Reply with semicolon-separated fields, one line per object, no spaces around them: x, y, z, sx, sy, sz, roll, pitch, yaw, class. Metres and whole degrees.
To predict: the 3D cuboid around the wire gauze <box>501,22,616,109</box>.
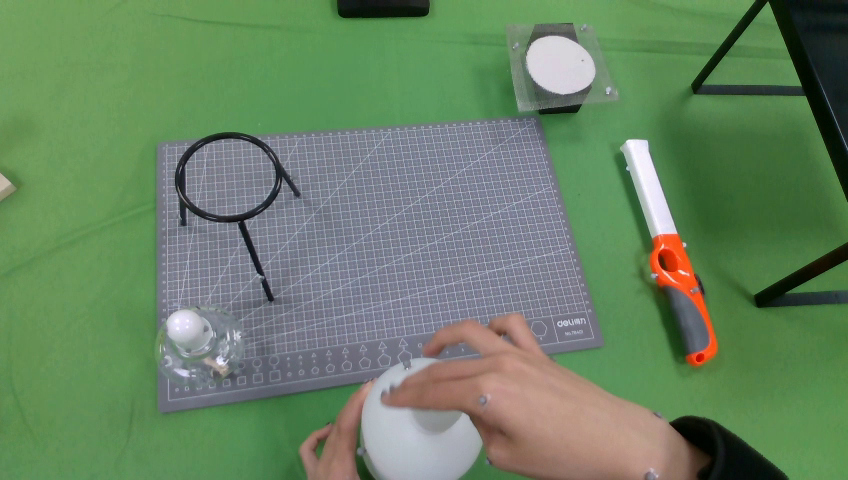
0.159;-0.214;0.730;0.122;0.011;0.124;-5;68;-9;wire gauze

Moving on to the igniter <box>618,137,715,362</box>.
0.275;0.003;0.693;0.057;0.025;0.274;-2;67;-20;igniter

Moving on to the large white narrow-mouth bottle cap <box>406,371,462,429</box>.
0.006;0.109;0.413;0.038;0.024;0.037;3;66;-5;large white narrow-mouth bottle cap

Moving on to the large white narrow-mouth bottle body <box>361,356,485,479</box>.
-0.002;0.151;0.501;0.102;0.196;0.101;2;65;-5;large white narrow-mouth bottle body

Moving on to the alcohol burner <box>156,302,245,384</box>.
-0.203;0.087;0.543;0.078;0.120;0.077;4;64;-7;alcohol burner

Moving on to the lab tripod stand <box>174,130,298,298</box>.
-0.176;-0.029;0.586;0.149;0.132;0.147;4;66;-8;lab tripod stand

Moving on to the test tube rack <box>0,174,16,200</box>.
-0.526;-0.010;0.561;0.066;0.085;0.242;39;67;10;test tube rack

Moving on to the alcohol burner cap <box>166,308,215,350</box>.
-0.198;0.074;0.510;0.034;0.048;0.033;2;72;-6;alcohol burner cap
